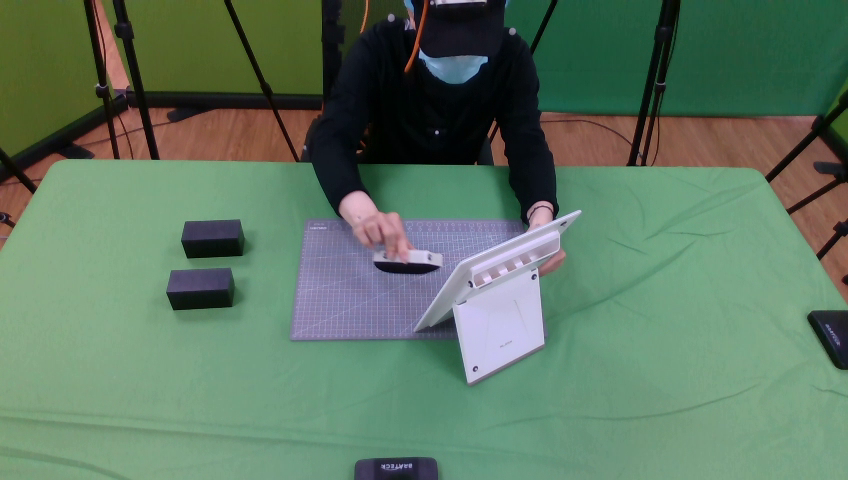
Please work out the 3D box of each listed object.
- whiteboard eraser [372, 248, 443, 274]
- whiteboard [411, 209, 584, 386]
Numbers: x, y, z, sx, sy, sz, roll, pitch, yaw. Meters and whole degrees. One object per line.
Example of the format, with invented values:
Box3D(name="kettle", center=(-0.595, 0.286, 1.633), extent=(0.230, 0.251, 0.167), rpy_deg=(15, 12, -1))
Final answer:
Box3D(name="whiteboard eraser", center=(-0.028, 0.035, 1.024), extent=(0.112, 0.056, 0.041), rpy_deg=(0, 79, 33))
Box3D(name="whiteboard", center=(0.134, 0.110, 0.944), extent=(0.217, 0.306, 0.143), rpy_deg=(-21, 72, -23))
